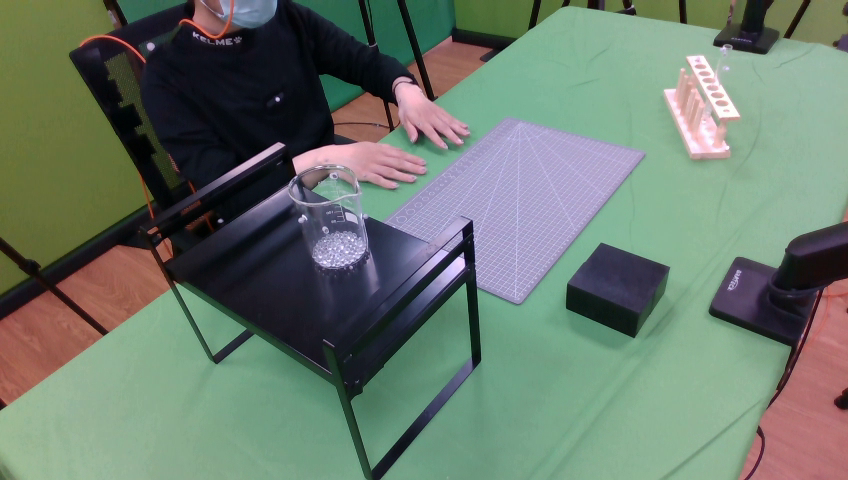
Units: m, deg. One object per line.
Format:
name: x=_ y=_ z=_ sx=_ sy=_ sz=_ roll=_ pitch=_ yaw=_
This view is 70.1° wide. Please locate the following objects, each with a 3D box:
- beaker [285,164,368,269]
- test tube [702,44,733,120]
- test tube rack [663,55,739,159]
beaker: x=-0.102 y=-0.024 z=0.676 sx=0.083 sy=0.101 sz=0.074 roll=8 pitch=43 yaw=17
test tube: x=0.530 y=-0.282 z=1.096 sx=0.017 sy=0.151 sz=0.017 roll=-2 pitch=45 yaw=3
test tube rack: x=0.517 y=-0.256 z=1.144 sx=0.066 sy=0.085 sz=0.241 roll=-1 pitch=41 yaw=8
